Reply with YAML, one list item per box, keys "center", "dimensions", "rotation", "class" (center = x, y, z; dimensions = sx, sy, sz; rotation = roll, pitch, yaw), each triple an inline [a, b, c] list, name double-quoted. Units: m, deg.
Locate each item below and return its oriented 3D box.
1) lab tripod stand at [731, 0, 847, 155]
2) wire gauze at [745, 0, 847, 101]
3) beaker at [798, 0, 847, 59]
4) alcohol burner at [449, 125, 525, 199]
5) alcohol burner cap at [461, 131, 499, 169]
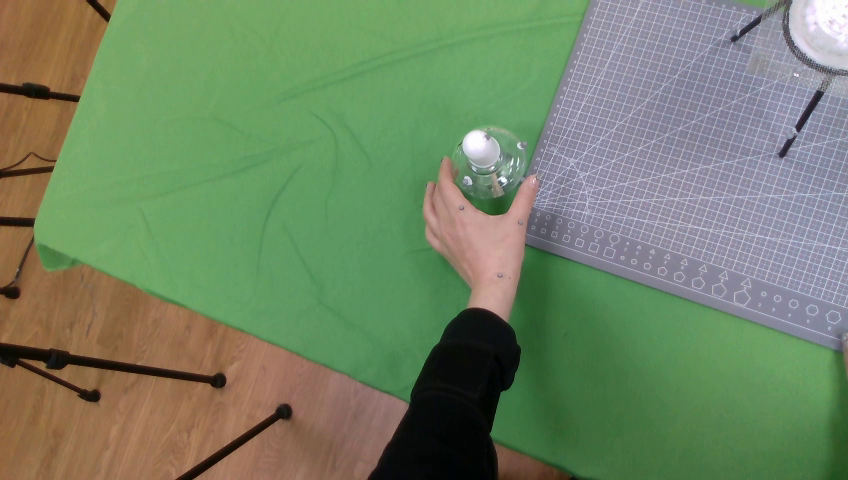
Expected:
- center: [0.342, -0.160, 0.527]
  dimensions: [0.148, 0.132, 0.148]
  rotation: [-1, 85, 14]
  class: "lab tripod stand"
- center: [0.326, -0.169, 0.464]
  dimensions: [0.124, 0.011, 0.121]
  rotation: [19, 92, 13]
  class: "wire gauze"
- center: [0.309, -0.177, 0.419]
  dimensions: [0.083, 0.101, 0.074]
  rotation: [33, 93, 16]
  class: "beaker"
- center: [0.061, -0.082, 0.606]
  dimensions: [0.078, 0.120, 0.077]
  rotation: [-2, 81, 13]
  class: "alcohol burner"
- center: [0.051, -0.088, 0.571]
  dimensions: [0.034, 0.048, 0.034]
  rotation: [-1, 86, 15]
  class: "alcohol burner cap"
